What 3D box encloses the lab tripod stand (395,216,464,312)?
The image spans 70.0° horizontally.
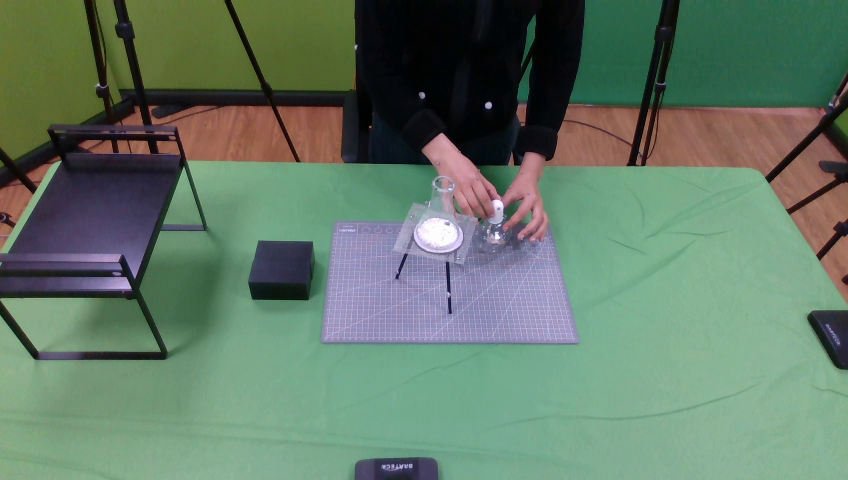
[{"bbox_3d":[0.023,0.037,1.084,0.148,0.132,0.147,4,47,-4],"label":"lab tripod stand"}]

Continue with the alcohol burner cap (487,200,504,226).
[{"bbox_3d":[0.135,-0.054,1.147,0.034,0.048,0.033,-2,46,3],"label":"alcohol burner cap"}]

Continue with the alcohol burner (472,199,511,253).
[{"bbox_3d":[0.133,-0.033,1.173,0.078,0.120,0.077,2,44,-2],"label":"alcohol burner"}]

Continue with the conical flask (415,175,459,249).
[{"bbox_3d":[0.026,-0.049,0.993,0.075,0.122,0.075,3,47,-3],"label":"conical flask"}]

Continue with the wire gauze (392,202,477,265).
[{"bbox_3d":[0.021,-0.011,1.037,0.121,0.011,0.124,13,49,8],"label":"wire gauze"}]
